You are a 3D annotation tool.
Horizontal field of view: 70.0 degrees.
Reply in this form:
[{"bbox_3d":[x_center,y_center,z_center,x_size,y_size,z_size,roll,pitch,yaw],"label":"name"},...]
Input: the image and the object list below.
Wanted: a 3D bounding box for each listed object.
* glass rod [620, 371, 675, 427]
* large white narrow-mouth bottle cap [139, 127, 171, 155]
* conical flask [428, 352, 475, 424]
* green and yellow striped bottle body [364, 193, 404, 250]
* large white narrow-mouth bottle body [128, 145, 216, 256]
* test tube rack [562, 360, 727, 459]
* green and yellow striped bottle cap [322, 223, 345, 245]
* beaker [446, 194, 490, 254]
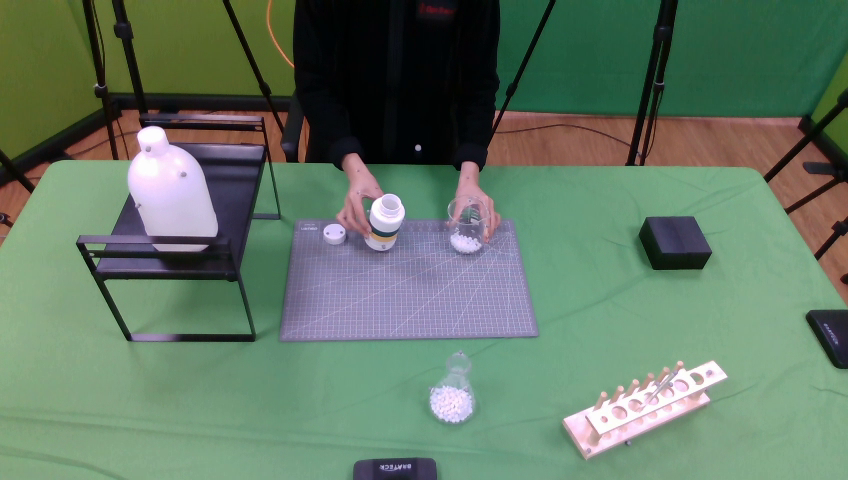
[{"bbox_3d":[0.316,0.230,0.863,0.008,0.200,0.008,3,54,-3],"label":"glass rod"},{"bbox_3d":[-0.358,-0.132,0.807,0.038,0.024,0.037,3,47,-3],"label":"large white narrow-mouth bottle cap"},{"bbox_3d":[0.046,0.220,0.920,0.075,0.122,0.075,2,46,-2],"label":"conical flask"},{"bbox_3d":[-0.074,-0.037,1.133,0.063,0.120,0.063,7,56,-11],"label":"green and yellow striped bottle body"},{"bbox_3d":[-0.366,-0.073,0.872,0.102,0.195,0.101,3,47,-3],"label":"large white narrow-mouth bottle body"},{"bbox_3d":[0.341,0.247,0.940,0.243,0.085,0.066,-16,49,-18],"label":"test tube rack"},{"bbox_3d":[-0.179,-0.013,1.198,0.045,0.020,0.045,2,49,-2],"label":"green and yellow striped bottle cap"},{"bbox_3d":[0.085,-0.027,1.163,0.084,0.101,0.073,13,55,13],"label":"beaker"}]
